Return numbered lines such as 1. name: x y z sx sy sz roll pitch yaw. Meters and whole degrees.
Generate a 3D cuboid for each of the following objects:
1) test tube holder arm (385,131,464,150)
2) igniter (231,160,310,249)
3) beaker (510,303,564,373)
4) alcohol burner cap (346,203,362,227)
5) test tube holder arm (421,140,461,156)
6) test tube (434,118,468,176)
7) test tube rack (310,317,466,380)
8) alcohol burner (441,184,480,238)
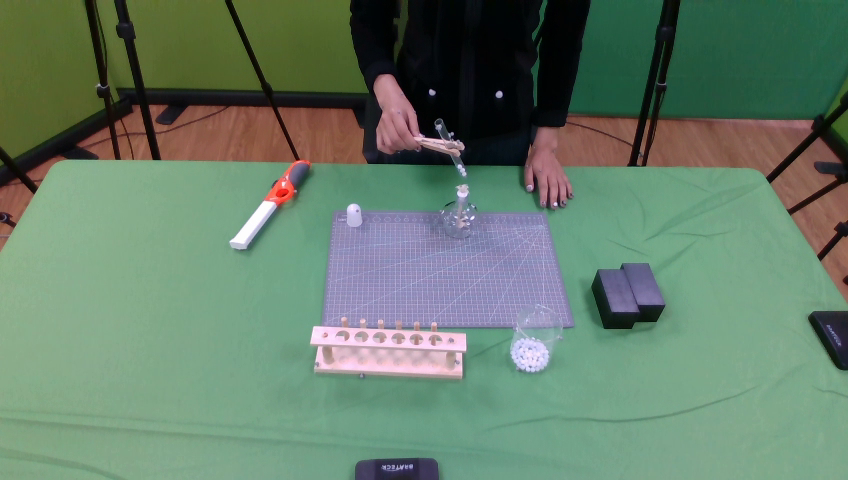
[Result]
1. test tube holder arm: -0.002 -0.184 1.119 0.177 0.015 0.013 17 64 36
2. igniter: -0.311 -0.081 1.250 0.057 0.025 0.275 9 45 18
3. beaker: 0.182 0.164 1.000 0.074 0.101 0.083 2 46 -1
4. alcohol burner cap: -0.141 -0.053 1.222 0.034 0.048 0.033 2 47 -2
5. test tube holder arm: 0.029 -0.168 1.090 0.087 0.015 0.010 25 70 39
6. test tube: 0.050 -0.162 1.081 0.017 0.151 0.017 -12 55 17
7. test tube rack: -0.056 0.171 0.987 0.242 0.085 0.066 3 45 -1
8. alcohol burner: 0.073 -0.061 1.195 0.078 0.120 0.077 1 47 0
